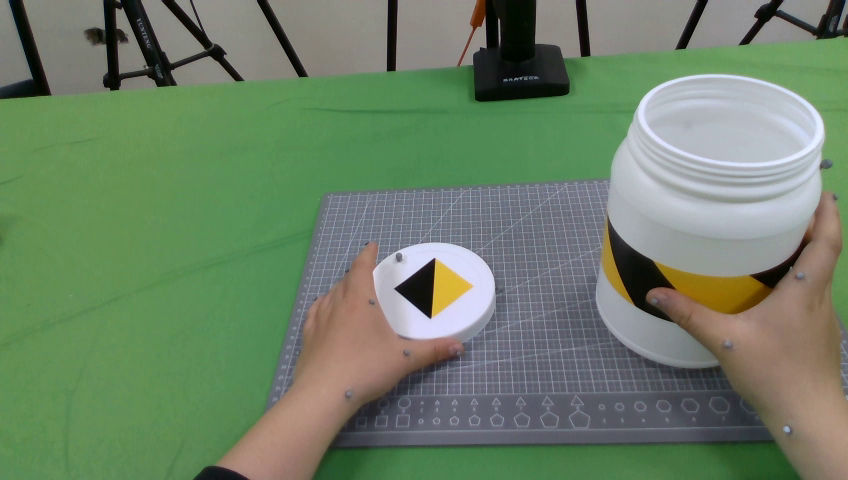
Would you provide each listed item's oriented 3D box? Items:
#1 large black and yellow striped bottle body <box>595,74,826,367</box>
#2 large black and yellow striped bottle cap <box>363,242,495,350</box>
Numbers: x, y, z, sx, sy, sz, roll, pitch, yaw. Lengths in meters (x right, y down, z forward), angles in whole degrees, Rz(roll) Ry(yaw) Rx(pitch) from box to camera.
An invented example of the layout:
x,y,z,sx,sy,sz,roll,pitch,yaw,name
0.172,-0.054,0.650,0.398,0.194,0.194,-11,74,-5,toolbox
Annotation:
x,y,z,sx,sy,sz,roll,pitch,yaw,name
0.197,-0.011,0.438,0.131,0.186,0.129,-4,43,4,large black and yellow striped bottle body
0.004,0.045,0.529,0.115,0.019,0.114,-3,43,3,large black and yellow striped bottle cap
